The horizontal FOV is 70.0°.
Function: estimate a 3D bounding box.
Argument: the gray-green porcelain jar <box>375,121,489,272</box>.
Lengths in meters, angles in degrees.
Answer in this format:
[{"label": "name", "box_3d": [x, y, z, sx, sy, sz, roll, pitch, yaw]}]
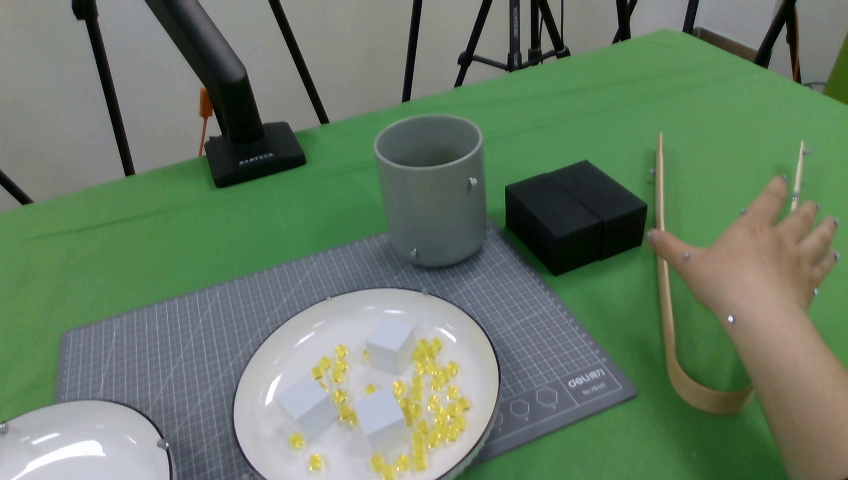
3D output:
[{"label": "gray-green porcelain jar", "box_3d": [0.011, -0.040, 0.609, 0.106, 0.128, 0.105, -4, 38, 4]}]

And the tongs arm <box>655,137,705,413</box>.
[{"label": "tongs arm", "box_3d": [0.246, 0.004, 0.604, 0.028, 0.028, 0.385, 7, 41, 13]}]

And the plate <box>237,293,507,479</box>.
[{"label": "plate", "box_3d": [-0.039, 0.125, 0.481, 0.207, 0.039, 0.205, -4, 38, 4]}]

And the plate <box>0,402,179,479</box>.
[{"label": "plate", "box_3d": [-0.268, 0.206, 0.411, 0.209, 0.038, 0.207, -5, 39, 4]}]

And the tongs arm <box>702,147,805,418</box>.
[{"label": "tongs arm", "box_3d": [0.322, 0.015, 0.573, 0.050, 0.027, 0.383, 14, 44, 25]}]
